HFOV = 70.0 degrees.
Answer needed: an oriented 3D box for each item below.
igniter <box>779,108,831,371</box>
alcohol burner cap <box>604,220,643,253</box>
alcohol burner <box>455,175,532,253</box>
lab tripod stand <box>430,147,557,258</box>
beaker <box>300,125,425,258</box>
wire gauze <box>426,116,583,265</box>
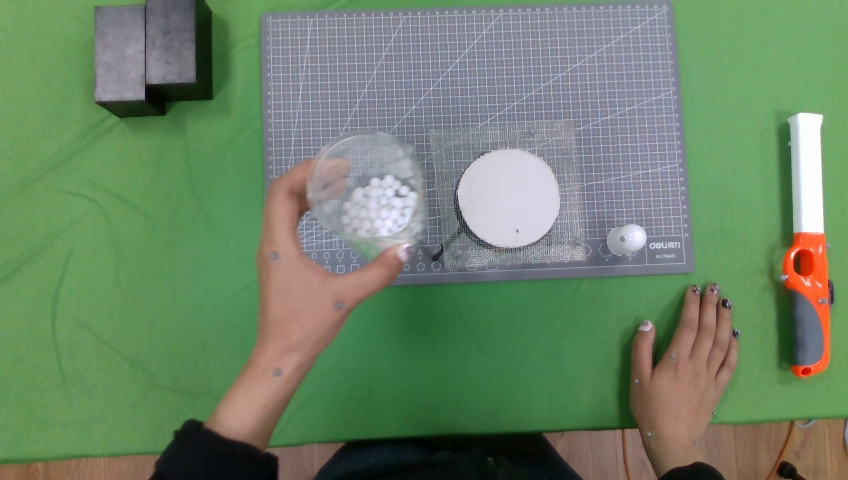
[{"bbox_3d":[0.400,-0.002,0.638,0.057,0.025,0.276,3,85,-11],"label":"igniter"},{"bbox_3d":[0.208,-0.005,0.624,0.034,0.048,0.034,0,83,0],"label":"alcohol burner cap"},{"bbox_3d":[0.070,-0.028,0.587,0.078,0.119,0.077,0,83,-2],"label":"alcohol burner"},{"bbox_3d":[0.066,-0.033,0.577,0.148,0.132,0.148,0,84,1],"label":"lab tripod stand"},{"bbox_3d":[-0.035,-0.026,0.428,0.074,0.100,0.083,-39,81,-4],"label":"beaker"},{"bbox_3d":[0.068,-0.043,0.510,0.125,0.011,0.121,-4,84,-2],"label":"wire gauze"}]
